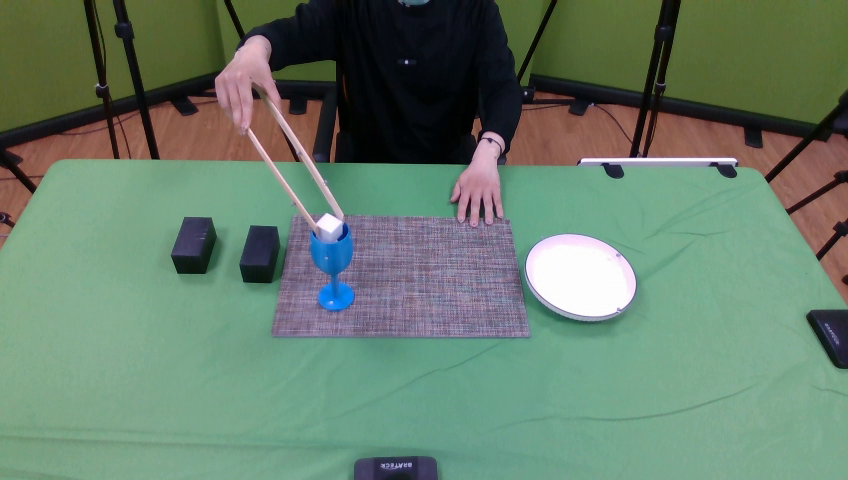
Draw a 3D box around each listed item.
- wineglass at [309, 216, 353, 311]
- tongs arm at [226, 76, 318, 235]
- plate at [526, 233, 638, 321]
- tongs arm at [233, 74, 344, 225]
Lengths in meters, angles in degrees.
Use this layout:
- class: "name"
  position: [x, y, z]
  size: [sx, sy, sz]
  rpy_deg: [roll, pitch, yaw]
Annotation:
- class: "wineglass"
  position: [-0.156, 0.043, 1.032]
  size: [0.074, 0.173, 0.073]
  rpy_deg: [2, 46, -2]
- class: "tongs arm"
  position: [-0.266, -0.153, 1.035]
  size: [0.028, 0.028, 0.385]
  rpy_deg: [-26, 61, -18]
- class: "plate"
  position: [0.292, 0.071, 1.135]
  size: [0.209, 0.038, 0.208]
  rpy_deg: [2, 46, -2]
- class: "tongs arm"
  position: [-0.241, -0.165, 1.046]
  size: [0.051, 0.026, 0.382]
  rpy_deg: [-22, 60, -19]
